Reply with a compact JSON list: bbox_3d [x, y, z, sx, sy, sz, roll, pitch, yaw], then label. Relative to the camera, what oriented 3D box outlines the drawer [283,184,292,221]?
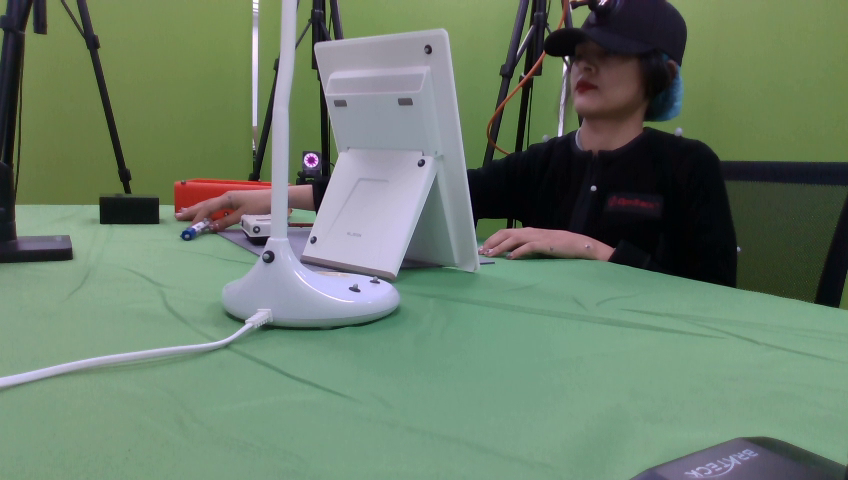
[{"bbox_3d":[-0.398,-0.087,1.314,0.212,0.073,0.194,1,8,-9],"label":"drawer"}]

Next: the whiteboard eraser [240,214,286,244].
[{"bbox_3d":[-0.256,-0.018,0.958,0.056,0.042,0.112,0,8,-25],"label":"whiteboard eraser"}]

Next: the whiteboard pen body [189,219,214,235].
[{"bbox_3d":[-0.381,-0.021,1.025,0.017,0.017,0.140,2,9,-6],"label":"whiteboard pen body"}]

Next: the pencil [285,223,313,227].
[{"bbox_3d":[-0.234,-0.030,1.197,0.195,0.012,0.012,0,8,-20],"label":"pencil"}]

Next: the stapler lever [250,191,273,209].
[{"bbox_3d":[-0.351,-0.086,1.305,0.027,0.040,0.118,1,5,-3],"label":"stapler lever"}]

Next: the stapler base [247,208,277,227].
[{"bbox_3d":[-0.350,-0.054,1.310,0.041,0.024,0.130,1,13,-3],"label":"stapler base"}]

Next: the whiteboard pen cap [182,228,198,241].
[{"bbox_3d":[-0.374,-0.009,0.968,0.018,0.018,0.033,2,10,-5],"label":"whiteboard pen cap"}]

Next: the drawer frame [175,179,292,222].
[{"bbox_3d":[-0.402,-0.087,1.311,0.214,0.082,0.201,1,8,-9],"label":"drawer frame"}]

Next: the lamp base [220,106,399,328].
[{"bbox_3d":[-0.102,-0.023,0.531,0.160,0.180,0.179,4,10,10],"label":"lamp base"}]

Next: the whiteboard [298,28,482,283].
[{"bbox_3d":[-0.075,-0.082,0.741,0.216,0.305,0.144,9,29,38],"label":"whiteboard"}]
